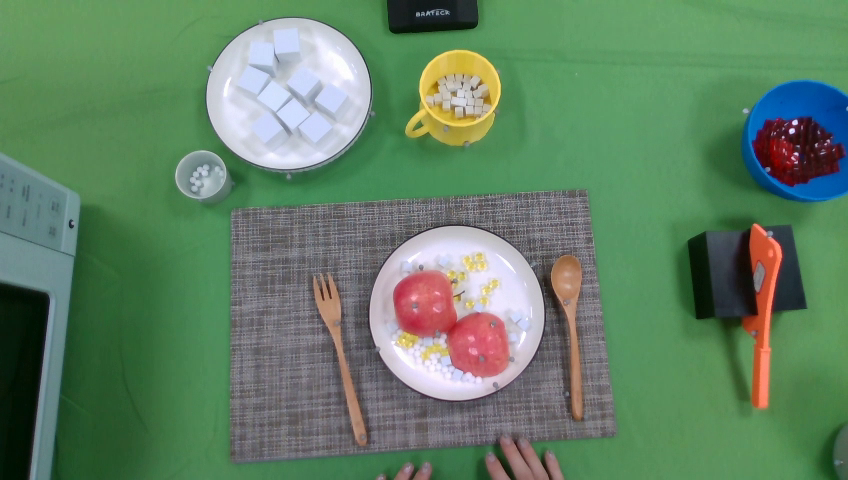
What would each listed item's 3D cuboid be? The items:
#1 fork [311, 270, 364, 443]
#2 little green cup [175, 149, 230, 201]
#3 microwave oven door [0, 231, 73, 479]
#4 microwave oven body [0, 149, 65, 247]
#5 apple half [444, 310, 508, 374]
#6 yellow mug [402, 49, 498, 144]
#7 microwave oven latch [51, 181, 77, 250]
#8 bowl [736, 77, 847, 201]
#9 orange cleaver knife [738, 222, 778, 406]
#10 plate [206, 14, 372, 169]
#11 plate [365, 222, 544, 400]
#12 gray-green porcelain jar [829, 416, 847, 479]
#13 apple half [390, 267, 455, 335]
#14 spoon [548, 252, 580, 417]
[{"bbox_3d":[-0.101,0.136,0.715,0.028,0.018,0.206,-12,77,-18],"label":"fork"},{"bbox_3d":[-0.272,-0.078,0.750,0.061,0.039,0.061,0,79,-1],"label":"little green cup"},{"bbox_3d":[-0.436,0.164,0.578,0.039,0.244,0.354,-1,78,0],"label":"microwave oven door"},{"bbox_3d":[-0.583,0.124,0.590,0.326,0.261,0.439,0,79,-1],"label":"microwave oven body"},{"bbox_3d":[0.061,0.119,0.705,0.081,0.033,0.081,0,76,1],"label":"apple half"},{"bbox_3d":[0.027,-0.170,0.759,0.131,0.064,0.099,-35,80,-7],"label":"yellow mug"},{"bbox_3d":[-0.435,-0.029,0.721,0.030,0.029,0.079,2,79,-1],"label":"microwave oven latch"},{"bbox_3d":[0.449,-0.113,0.746,0.151,0.077,0.150,0,79,0],"label":"bowl"},{"bbox_3d":[0.382,0.086,0.703,0.012,0.077,0.212,-2,102,3],"label":"orange cleaver knife"},{"bbox_3d":[-0.169,-0.186,0.775,0.208,0.039,0.206,0,79,0],"label":"plate"},{"bbox_3d":[0.035,0.083,0.719,0.209,0.038,0.208,0,79,-1],"label":"plate"},{"bbox_3d":[0.518,0.239,0.651,0.106,0.127,0.105,0,78,0],"label":"gray-green porcelain jar"},{"bbox_3d":[-0.003,0.070,0.705,0.074,0.053,0.080,-6,79,1],"label":"apple half"},{"bbox_3d":[0.172,0.111,0.722,0.042,0.021,0.193,2,77,-23],"label":"spoon"}]
